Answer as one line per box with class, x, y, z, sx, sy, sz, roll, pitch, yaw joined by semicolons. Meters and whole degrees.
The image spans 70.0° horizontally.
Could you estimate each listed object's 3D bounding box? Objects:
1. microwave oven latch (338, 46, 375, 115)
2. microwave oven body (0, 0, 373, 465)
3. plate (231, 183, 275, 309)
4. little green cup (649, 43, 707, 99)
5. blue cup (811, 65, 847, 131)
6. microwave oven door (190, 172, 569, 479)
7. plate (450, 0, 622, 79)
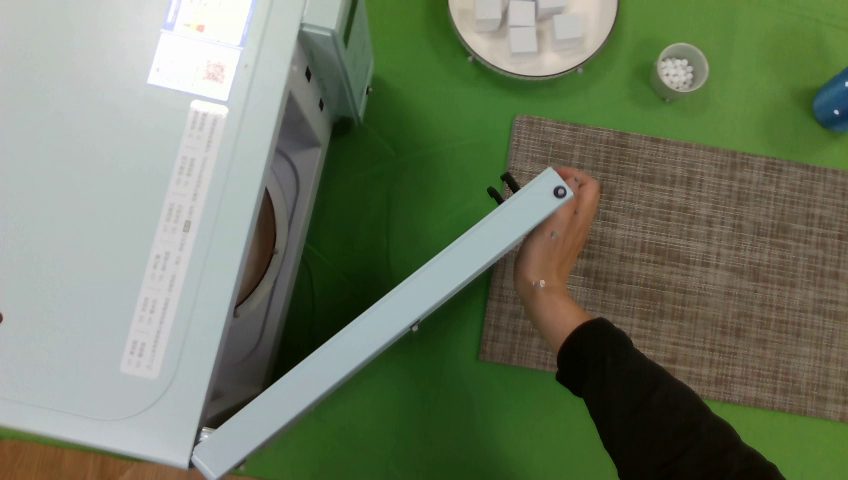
microwave oven latch;-0.079;-0.188;0.704;0.030;0.029;0.079;17;84;0
microwave oven body;-0.260;-0.060;0.589;0.326;0.260;0.440;13;84;-1
plate;-0.259;-0.012;0.634;0.209;0.038;0.208;0;85;-3
little green cup;0.305;-0.202;0.737;0.061;0.039;0.061;0;84;-1
blue cup;0.513;-0.170;0.708;0.093;0.100;0.092;0;85;-2
microwave oven door;-0.033;0.073;0.577;0.356;0.244;0.039;-38;85;-5
plate;0.134;-0.293;0.741;0.208;0.039;0.207;0;84;-2
